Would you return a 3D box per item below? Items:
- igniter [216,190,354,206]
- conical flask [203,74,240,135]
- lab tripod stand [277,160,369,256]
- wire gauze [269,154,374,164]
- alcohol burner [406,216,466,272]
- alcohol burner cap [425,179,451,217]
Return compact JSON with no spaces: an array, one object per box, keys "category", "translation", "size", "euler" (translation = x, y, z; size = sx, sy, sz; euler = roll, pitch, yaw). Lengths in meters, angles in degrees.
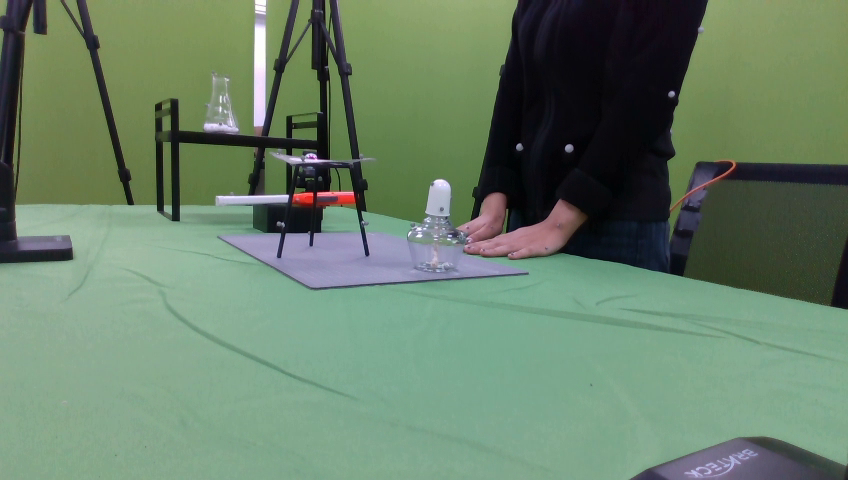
[{"category":"igniter","translation":[-0.248,-0.079,1.143],"size":[0.278,0.025,0.057],"euler":[-5,8,-31]},{"category":"conical flask","translation":[-0.425,-0.284,1.271],"size":[0.075,0.122,0.075],"euler":[3,7,0]},{"category":"lab tripod stand","translation":[-0.149,-0.046,0.861],"size":[0.148,0.131,0.148],"euler":[3,9,0]},{"category":"wire gauze","translation":[-0.146,-0.114,0.860],"size":[0.122,0.011,0.124],"euler":[-2,9,-28]},{"category":"alcohol burner","translation":[0.017,-0.018,0.777],"size":[0.078,0.119,0.078],"euler":[5,7,0]},{"category":"alcohol burner cap","translation":[0.020,-0.053,0.772],"size":[0.034,0.048,0.034],"euler":[6,15,-1]}]
